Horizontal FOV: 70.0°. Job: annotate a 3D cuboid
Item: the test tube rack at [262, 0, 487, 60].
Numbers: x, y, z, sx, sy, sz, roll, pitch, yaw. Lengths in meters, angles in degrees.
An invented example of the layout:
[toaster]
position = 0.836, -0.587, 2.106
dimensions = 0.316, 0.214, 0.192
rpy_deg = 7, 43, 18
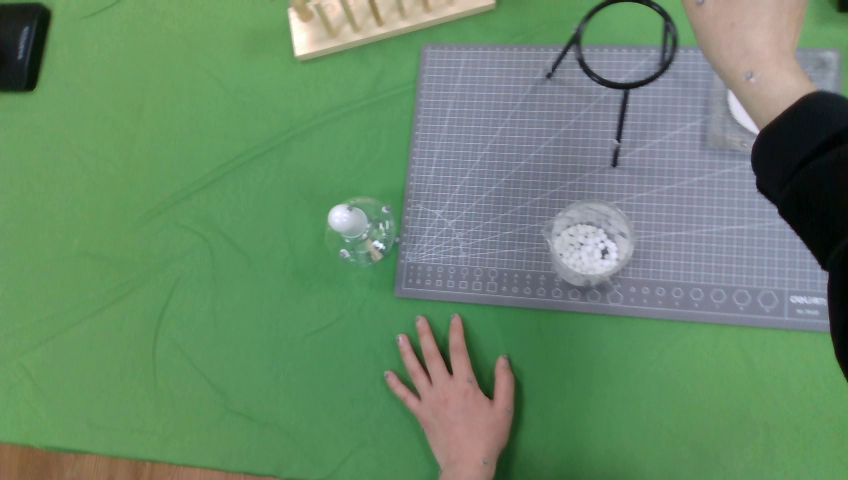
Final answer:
[test tube rack]
position = -0.056, -0.285, 0.691
dimensions = 0.242, 0.085, 0.066
rpy_deg = -13, 78, 7

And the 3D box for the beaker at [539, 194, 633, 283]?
[beaker]
position = 0.155, 0.003, 0.597
dimensions = 0.084, 0.101, 0.074
rpy_deg = 10, 81, 12

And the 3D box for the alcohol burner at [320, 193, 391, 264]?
[alcohol burner]
position = -0.076, -0.016, 0.634
dimensions = 0.078, 0.120, 0.077
rpy_deg = -2, 78, 8

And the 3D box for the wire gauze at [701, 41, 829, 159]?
[wire gauze]
position = 0.358, -0.151, 0.637
dimensions = 0.125, 0.011, 0.121
rpy_deg = 8, 81, 8

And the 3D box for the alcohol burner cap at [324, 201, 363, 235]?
[alcohol burner cap]
position = -0.082, -0.023, 0.599
dimensions = 0.034, 0.048, 0.034
rpy_deg = -1, 83, 9

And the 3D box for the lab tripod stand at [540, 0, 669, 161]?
[lab tripod stand]
position = 0.186, -0.168, 0.604
dimensions = 0.148, 0.132, 0.148
rpy_deg = -1, 81, 8
